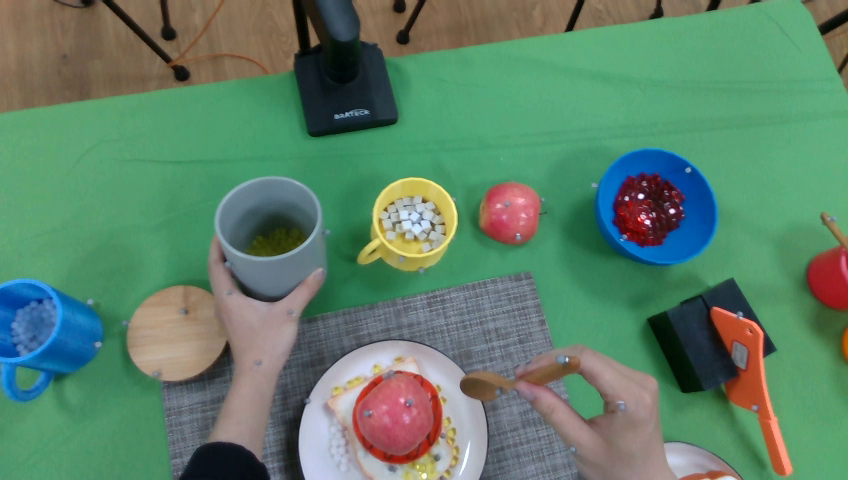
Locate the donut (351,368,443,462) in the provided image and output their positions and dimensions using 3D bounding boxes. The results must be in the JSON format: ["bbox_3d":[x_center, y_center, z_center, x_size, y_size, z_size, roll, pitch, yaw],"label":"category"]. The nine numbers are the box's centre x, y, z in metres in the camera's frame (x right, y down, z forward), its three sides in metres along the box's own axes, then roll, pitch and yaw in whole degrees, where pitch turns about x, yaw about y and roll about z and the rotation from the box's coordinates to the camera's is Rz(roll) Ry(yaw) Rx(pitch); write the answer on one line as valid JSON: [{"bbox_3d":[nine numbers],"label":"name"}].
[{"bbox_3d":[-0.028,0.187,0.649,0.099,0.048,0.098,2,73,-7],"label":"donut"}]

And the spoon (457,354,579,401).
[{"bbox_3d":[0.070,0.108,0.466,0.042,0.194,0.021,23,69,-8],"label":"spoon"}]

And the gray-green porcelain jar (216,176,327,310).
[{"bbox_3d":[-0.161,0.010,0.665,0.106,0.127,0.105,3,57,-4],"label":"gray-green porcelain jar"}]

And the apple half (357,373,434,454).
[{"bbox_3d":[-0.027,0.176,0.615,0.081,0.033,0.081,0,73,0],"label":"apple half"}]

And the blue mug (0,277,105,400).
[{"bbox_3d":[-0.396,0.106,0.623,0.082,0.106,0.116,9,72,-4],"label":"blue mug"}]

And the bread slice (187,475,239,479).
[{"bbox_3d":[-0.231,0.313,0.626,0.105,0.019,0.131,-3,75,-10],"label":"bread slice"}]

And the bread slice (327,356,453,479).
[{"bbox_3d":[-0.029,0.211,0.676,0.107,0.018,0.133,-28,77,-15],"label":"bread slice"}]

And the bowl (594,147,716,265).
[{"bbox_3d":[0.278,-0.033,0.767,0.151,0.077,0.150,2,74,-6],"label":"bowl"}]

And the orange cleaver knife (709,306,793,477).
[{"bbox_3d":[0.384,0.178,0.716,0.012,0.077,0.212,-22,99,-20],"label":"orange cleaver knife"}]

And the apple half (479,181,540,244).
[{"bbox_3d":[0.110,-0.040,0.761,0.075,0.053,0.080,10,73,-1],"label":"apple half"}]

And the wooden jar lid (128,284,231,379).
[{"bbox_3d":[-0.273,0.104,0.682,0.108,0.021,0.107,2,70,-5],"label":"wooden jar lid"}]

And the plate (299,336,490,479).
[{"bbox_3d":[-0.033,0.212,0.671,0.208,0.039,0.206,2,74,-7],"label":"plate"}]

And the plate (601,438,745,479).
[{"bbox_3d":[0.280,0.331,0.679,0.209,0.038,0.208,2,73,-6],"label":"plate"}]

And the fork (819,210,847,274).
[{"bbox_3d":[0.519,0.014,0.747,0.209,0.018,0.028,35,65,-40],"label":"fork"}]

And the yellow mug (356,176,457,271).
[{"bbox_3d":[-0.026,-0.010,0.727,0.131,0.064,0.099,-35,80,-15],"label":"yellow mug"}]
